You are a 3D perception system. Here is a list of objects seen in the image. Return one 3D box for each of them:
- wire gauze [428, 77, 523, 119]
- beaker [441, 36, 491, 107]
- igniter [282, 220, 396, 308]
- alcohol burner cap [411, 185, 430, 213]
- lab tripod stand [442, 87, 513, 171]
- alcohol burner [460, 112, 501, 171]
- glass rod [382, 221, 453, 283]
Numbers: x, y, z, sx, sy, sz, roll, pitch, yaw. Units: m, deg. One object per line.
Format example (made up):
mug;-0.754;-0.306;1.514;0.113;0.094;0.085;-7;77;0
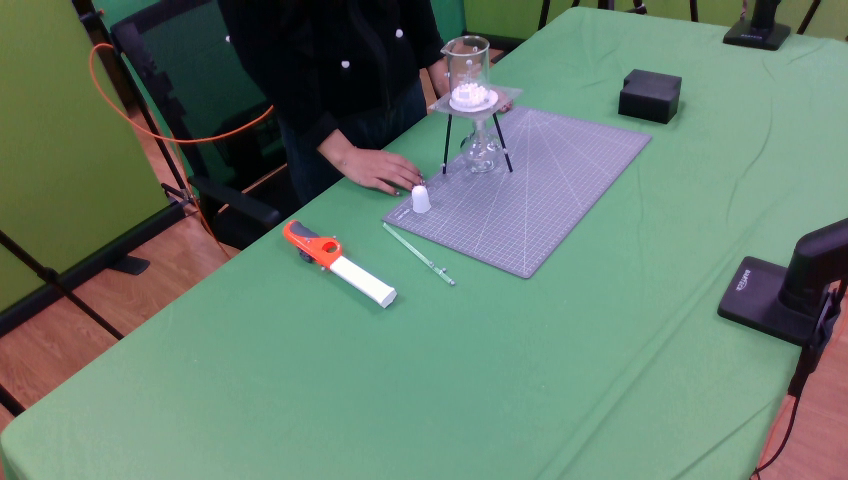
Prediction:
wire gauze;0.090;-0.248;1.063;0.120;0.011;0.125;24;48;30
beaker;0.074;-0.287;1.036;0.084;0.101;0.073;-1;41;8
igniter;-0.146;0.032;0.966;0.274;0.025;0.057;30;65;37
alcohol burner cap;-0.008;-0.074;1.050;0.034;0.048;0.033;-4;40;4
lab tripod stand;0.097;-0.200;1.108;0.148;0.132;0.147;-4;40;4
alcohol burner;0.103;-0.186;1.106;0.078;0.119;0.077;-4;42;4
glass rod;-0.014;0.016;0.976;0.008;0.008;0.198;-29;44;-22
